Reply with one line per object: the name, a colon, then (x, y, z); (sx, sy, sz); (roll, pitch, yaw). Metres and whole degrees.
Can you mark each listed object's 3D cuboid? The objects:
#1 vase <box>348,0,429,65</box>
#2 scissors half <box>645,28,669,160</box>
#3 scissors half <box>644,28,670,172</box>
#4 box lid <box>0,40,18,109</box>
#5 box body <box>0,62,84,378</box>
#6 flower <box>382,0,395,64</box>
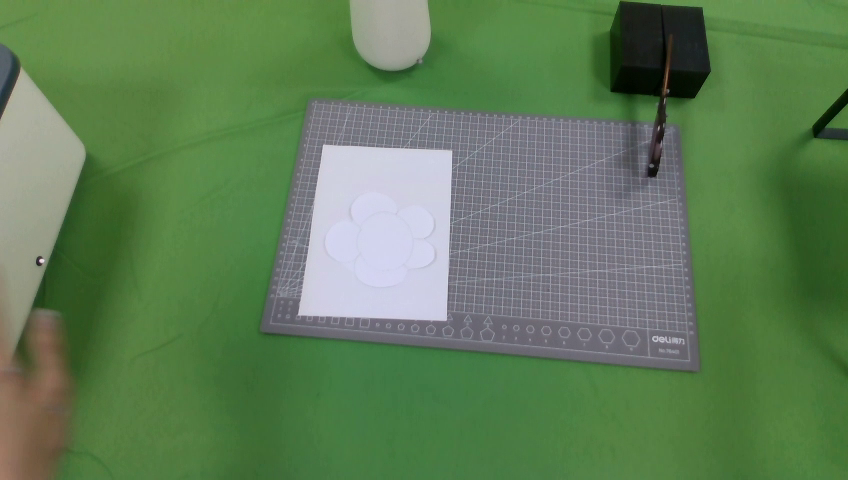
vase: (-0.045, -0.295, 0.689); (0.098, 0.201, 0.097); (-1, 65, 2)
scissors half: (0.265, -0.168, 0.677); (0.013, 0.040, 0.174); (10, 67, 14)
scissors half: (0.271, -0.162, 0.696); (0.012, 0.040, 0.175); (9, 85, 19)
box lid: (-0.529, -0.036, 0.519); (0.263, 0.015, 0.369); (5, 68, 3)
box body: (-0.528, -0.004, 0.586); (0.254, 0.161, 0.361); (5, 67, 3)
flower: (-0.052, -0.341, 0.619); (0.044, 0.365, 0.038); (-2, 48, 4)
